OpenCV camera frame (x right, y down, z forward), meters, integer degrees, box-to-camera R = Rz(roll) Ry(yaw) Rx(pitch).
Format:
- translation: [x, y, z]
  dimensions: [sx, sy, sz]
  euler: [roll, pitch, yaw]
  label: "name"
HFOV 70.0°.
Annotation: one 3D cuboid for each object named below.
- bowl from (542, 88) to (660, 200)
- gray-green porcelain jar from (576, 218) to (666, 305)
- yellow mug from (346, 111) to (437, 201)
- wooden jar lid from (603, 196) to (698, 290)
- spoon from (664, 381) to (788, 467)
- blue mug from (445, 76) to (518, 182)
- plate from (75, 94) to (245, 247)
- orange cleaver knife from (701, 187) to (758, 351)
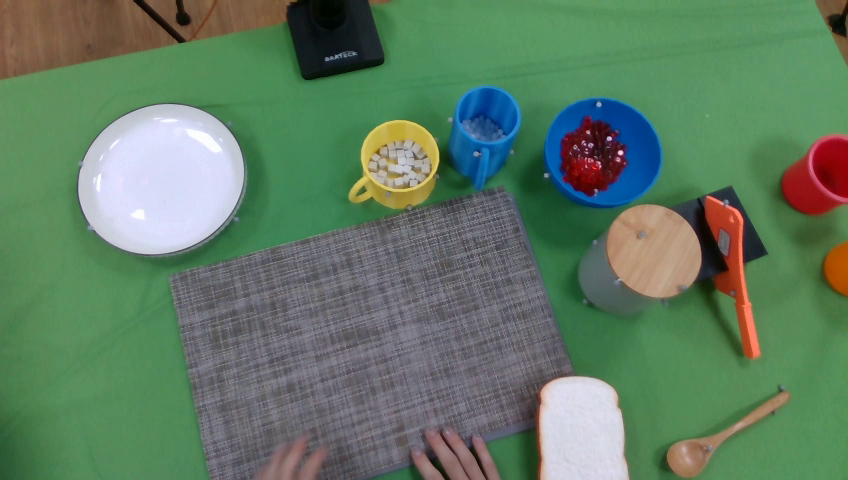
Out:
- translation: [0.223, -0.115, 0.801]
  dimensions: [0.151, 0.077, 0.150]
  euler: [1, 75, -3]
  label: "bowl"
- translation: [0.250, 0.022, 0.740]
  dimensions: [0.106, 0.127, 0.105]
  euler: [1, 74, -3]
  label: "gray-green porcelain jar"
- translation: [-0.047, -0.099, 0.786]
  dimensions: [0.131, 0.064, 0.099]
  euler: [-36, 79, -11]
  label: "yellow mug"
- translation: [0.252, 0.004, 0.679]
  dimensions: [0.108, 0.021, 0.108]
  euler: [2, 76, -6]
  label: "wooden jar lid"
- translation: [0.376, 0.222, 0.745]
  dimensions: [0.194, 0.022, 0.041]
  euler: [-26, 61, -10]
  label: "spoon"
- translation: [0.071, -0.133, 0.783]
  dimensions: [0.082, 0.106, 0.116]
  euler: [5, 74, -2]
  label: "blue mug"
- translation: [-0.334, -0.087, 0.780]
  dimensions: [0.208, 0.039, 0.206]
  euler: [1, 75, -3]
  label: "plate"
- translation: [0.385, 0.036, 0.766]
  dimensions: [0.012, 0.077, 0.212]
  euler: [-17, 103, -7]
  label: "orange cleaver knife"
